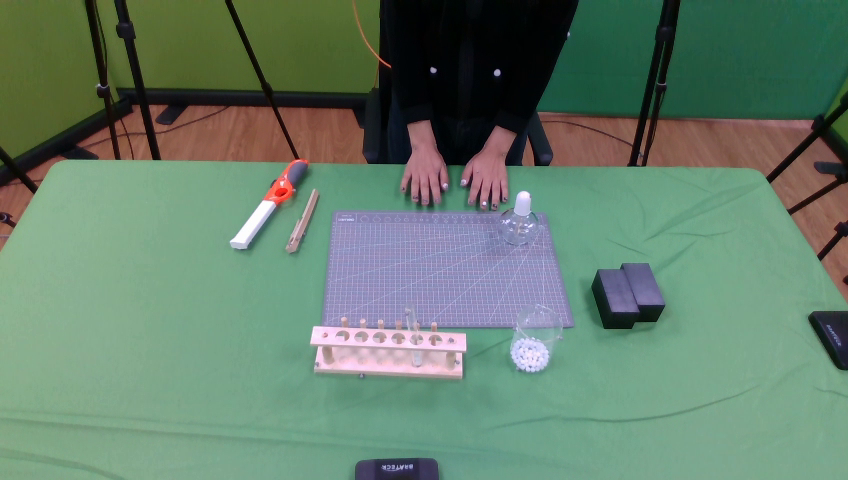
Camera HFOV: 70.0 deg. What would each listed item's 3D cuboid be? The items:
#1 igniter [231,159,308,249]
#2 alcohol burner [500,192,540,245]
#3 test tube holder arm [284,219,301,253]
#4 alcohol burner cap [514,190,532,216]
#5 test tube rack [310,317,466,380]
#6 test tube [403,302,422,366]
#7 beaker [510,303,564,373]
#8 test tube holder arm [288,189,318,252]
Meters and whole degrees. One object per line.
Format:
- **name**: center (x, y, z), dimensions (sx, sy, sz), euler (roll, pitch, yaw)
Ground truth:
- **igniter**: center (-0.313, -0.082, 1.251), dimensions (0.057, 0.025, 0.275), euler (8, 45, 18)
- **alcohol burner**: center (0.190, -0.048, 1.190), dimensions (0.078, 0.120, 0.077), euler (1, 47, -1)
- **test tube holder arm**: center (-0.254, -0.010, 1.194), dimensions (0.010, 0.015, 0.087), euler (-14, 39, 26)
- **alcohol burner cap**: center (0.192, -0.074, 1.166), dimensions (0.034, 0.048, 0.033), euler (1, 41, -1)
- **test tube rack**: center (-0.056, 0.171, 0.986), dimensions (0.242, 0.085, 0.066), euler (3, 45, -1)
- **test tube**: center (-0.017, 0.149, 0.941), dimensions (0.017, 0.151, 0.017), euler (-3, 44, 3)
- **beaker**: center (0.182, 0.164, 1.000), dimensions (0.074, 0.101, 0.083), euler (2, 46, -1)
- **test tube holder arm**: center (-0.242, -0.043, 1.223), dimensions (0.013, 0.015, 0.177), euler (-15, 39, 25)
